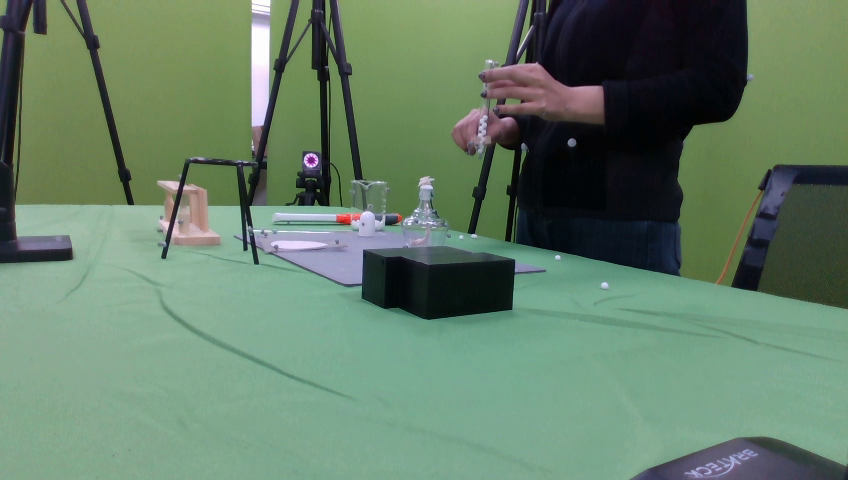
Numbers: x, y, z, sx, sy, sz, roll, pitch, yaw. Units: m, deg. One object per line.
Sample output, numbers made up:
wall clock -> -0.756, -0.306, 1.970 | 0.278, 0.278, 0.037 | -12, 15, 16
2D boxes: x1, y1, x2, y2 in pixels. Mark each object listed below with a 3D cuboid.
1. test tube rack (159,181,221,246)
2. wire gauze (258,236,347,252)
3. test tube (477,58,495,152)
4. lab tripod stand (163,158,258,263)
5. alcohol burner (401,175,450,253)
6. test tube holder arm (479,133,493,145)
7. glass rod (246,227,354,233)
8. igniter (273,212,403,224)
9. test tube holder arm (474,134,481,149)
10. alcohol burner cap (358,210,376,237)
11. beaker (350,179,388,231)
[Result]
test tube rack -> -0.395, -0.050, 1.010 | 0.067, 0.085, 0.241 | -2, 8, -28
wire gauze -> -0.189, 0.005, 0.931 | 0.122, 0.011, 0.124 | 1, 7, -21
test tube -> 0.100, -0.218, 0.985 | 0.017, 0.150, 0.017 | 5, 9, 0
lab tripod stand -> -0.265, -0.041, 0.802 | 0.148, 0.131, 0.148 | 4, 6, 0
alcohol burner -> 0.003, -0.040, 0.933 | 0.078, 0.119, 0.078 | 2, 9, 0
test tube holder arm -> 0.100, -0.168, 1.014 | 0.010, 0.015, 0.087 | -1, 5, -8
glass rod -> -0.224, -0.017, 1.109 | 0.201, 0.008, 0.008 | 1, 7, -27
igniter -> -0.179, -0.048, 1.290 | 0.278, 0.025, 0.057 | -1, -2, -24
test tube holder arm -> 0.093, -0.172, 1.059 | 0.013, 0.015, 0.178 | 1, 5, 3
alcohol burner cap -> -0.104, -0.030, 1.098 | 0.034, 0.048, 0.034 | 3, 7, 0
beaker -> -0.111, -0.069, 1.204 | 0.074, 0.100, 0.084 | 2, 8, 0
